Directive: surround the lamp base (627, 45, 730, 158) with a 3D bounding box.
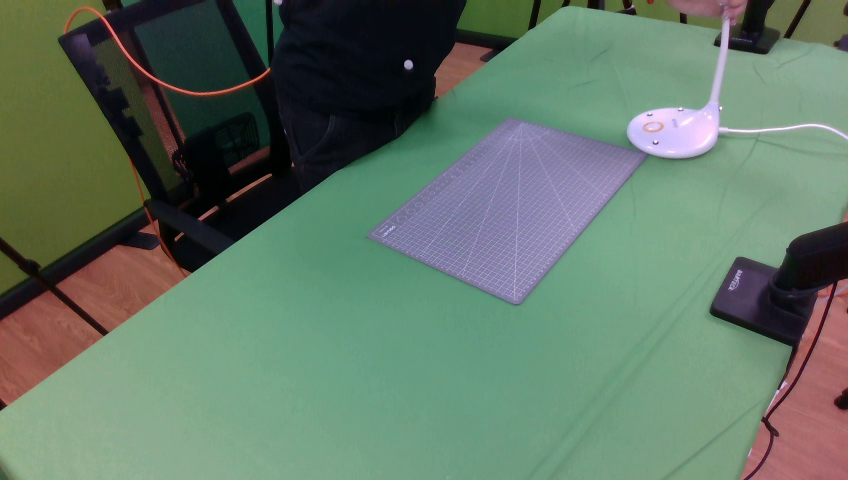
[{"bbox_3d":[0.469,-0.262,1.086,0.179,0.181,0.159,-4,41,-1],"label":"lamp base"}]
